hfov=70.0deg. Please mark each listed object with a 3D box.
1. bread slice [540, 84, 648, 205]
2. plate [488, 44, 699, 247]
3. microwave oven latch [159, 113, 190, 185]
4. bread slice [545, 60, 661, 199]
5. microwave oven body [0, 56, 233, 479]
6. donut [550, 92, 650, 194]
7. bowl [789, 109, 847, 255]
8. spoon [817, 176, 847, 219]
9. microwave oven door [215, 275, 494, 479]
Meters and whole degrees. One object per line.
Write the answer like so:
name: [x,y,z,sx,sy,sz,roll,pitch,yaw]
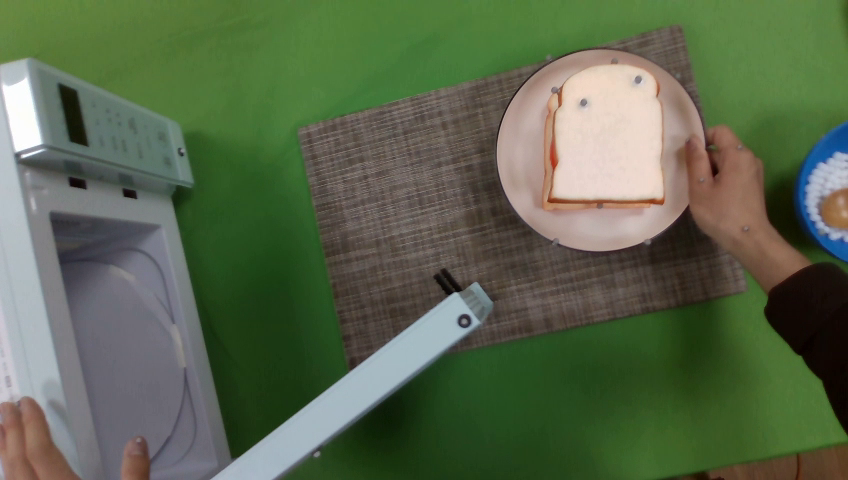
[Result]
bread slice: [0.170,-0.102,0.627,0.107,0.018,0.134,-4,88,5]
plate: [0.171,-0.094,0.627,0.207,0.039,0.207,0,89,6]
microwave oven latch: [-0.302,-0.106,0.712,0.030,0.029,0.079,-16,87,7]
bread slice: [0.167,-0.104,0.570,0.104,0.019,0.131,0,87,11]
microwave oven body: [-0.413,0.100,0.626,0.326,0.260,0.441,-16,87,7]
donut: [0.171,-0.095,0.594,0.099,0.048,0.099,0,94,-7]
bowl: [0.433,-0.053,0.603,0.151,0.077,0.151,0,88,8]
spoon: [0.477,-0.062,0.565,0.193,0.022,0.041,-18,81,29]
microwave oven door: [-0.088,0.159,0.574,0.356,0.244,0.039,-39,83,5]
